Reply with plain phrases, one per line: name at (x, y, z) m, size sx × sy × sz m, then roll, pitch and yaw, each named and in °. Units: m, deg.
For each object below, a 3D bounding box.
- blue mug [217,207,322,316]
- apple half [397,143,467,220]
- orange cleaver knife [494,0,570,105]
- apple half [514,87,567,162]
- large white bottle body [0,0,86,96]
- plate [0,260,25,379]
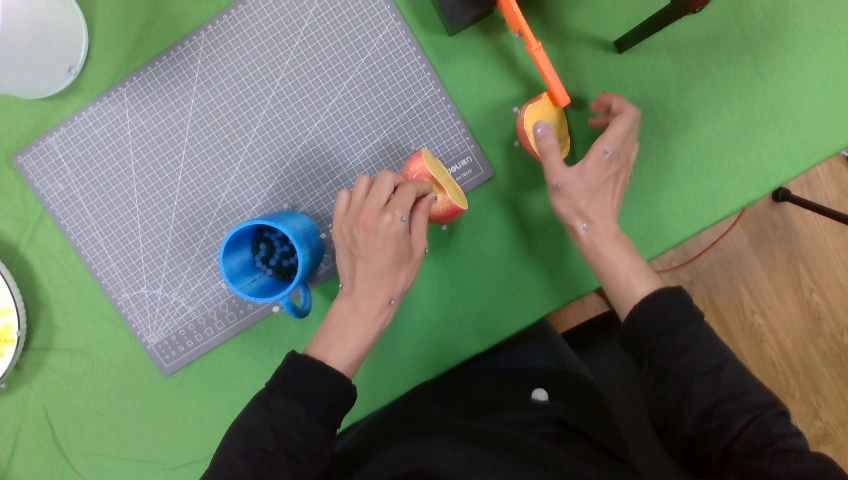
blue mug at (-0.151, 0.025, 0.636) m, size 0.082 × 0.105 × 0.117 m, roll -23°, pitch 98°, yaw 5°
apple half at (0.002, -0.055, 0.633) m, size 0.053 × 0.074 × 0.081 m, roll -36°, pitch 103°, yaw 19°
orange cleaver knife at (0.086, -0.226, 0.598) m, size 0.012 × 0.076 × 0.213 m, roll -35°, pitch 121°, yaw 6°
apple half at (0.118, -0.118, 0.639) m, size 0.032 × 0.081 × 0.081 m, roll -5°, pitch 102°, yaw 44°
large white bottle body at (-0.428, -0.209, 0.564) m, size 0.130 × 0.184 × 0.131 m, roll 0°, pitch 98°, yaw 2°
plate at (-0.553, 0.080, 0.689) m, size 0.209 × 0.038 × 0.209 m, roll 0°, pitch 100°, yaw 1°
